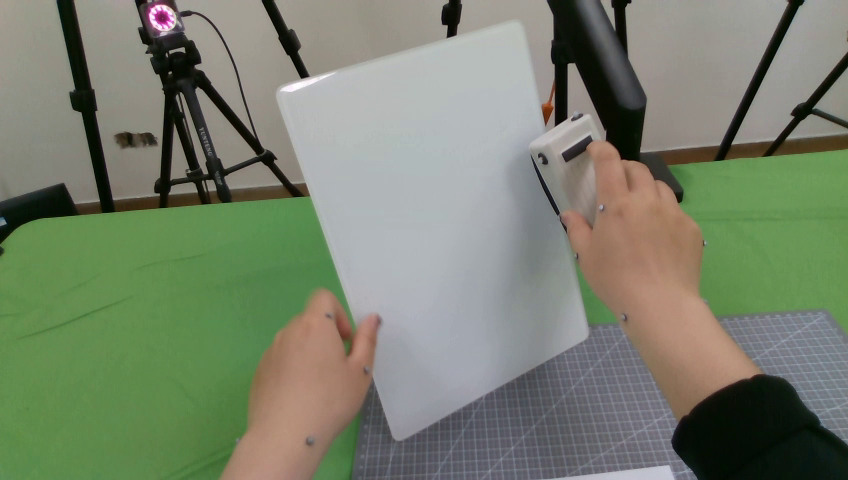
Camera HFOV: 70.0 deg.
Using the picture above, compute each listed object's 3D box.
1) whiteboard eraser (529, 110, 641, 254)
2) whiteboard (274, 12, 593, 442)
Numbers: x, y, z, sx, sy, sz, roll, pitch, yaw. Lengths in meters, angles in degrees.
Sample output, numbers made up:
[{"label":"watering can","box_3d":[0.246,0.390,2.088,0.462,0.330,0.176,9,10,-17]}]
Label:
[{"label":"whiteboard eraser","box_3d":[0.134,-0.048,0.507,0.055,0.113,0.041,-32,16,-10]},{"label":"whiteboard","box_3d":[0.001,-0.020,0.563,0.217,0.307,0.143,-23,18,-20]}]
